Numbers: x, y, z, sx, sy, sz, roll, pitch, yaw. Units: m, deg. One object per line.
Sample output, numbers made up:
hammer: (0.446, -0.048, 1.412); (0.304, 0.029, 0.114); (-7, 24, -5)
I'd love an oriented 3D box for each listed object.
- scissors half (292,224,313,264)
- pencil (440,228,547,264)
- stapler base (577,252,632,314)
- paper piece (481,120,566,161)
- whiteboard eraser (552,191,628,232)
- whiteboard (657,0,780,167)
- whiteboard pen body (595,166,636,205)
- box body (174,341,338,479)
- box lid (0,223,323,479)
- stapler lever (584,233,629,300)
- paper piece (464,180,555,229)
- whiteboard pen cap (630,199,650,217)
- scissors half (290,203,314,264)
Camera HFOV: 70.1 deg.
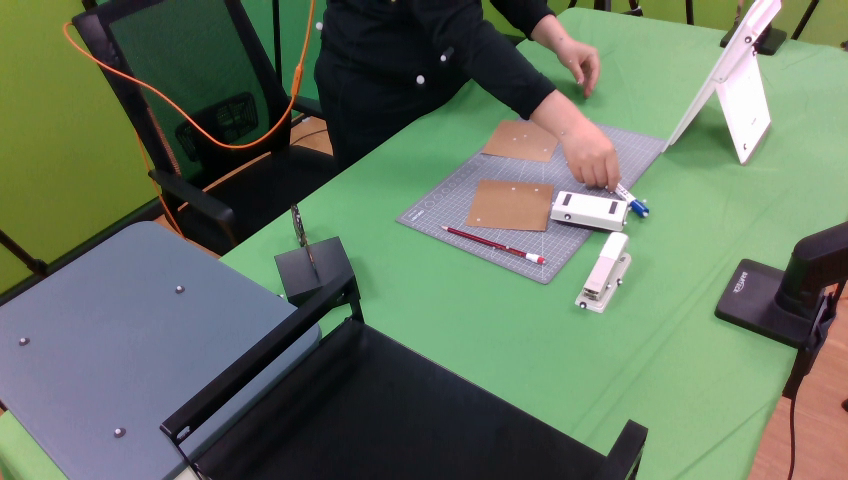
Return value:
scissors half: (-0.189, 0.007, 0.954); (0.013, 0.040, 0.174); (-16, 20, -14)
pencil: (0.105, 0.007, 0.958); (0.192, 0.012, 0.012); (18, 46, 30)
stapler base: (0.264, 0.051, 0.875); (0.041, 0.024, 0.131); (16, 47, 30)
paper piece: (0.197, -0.199, 1.188); (0.135, 0.004, 0.135); (11, 43, 21)
whiteboard eraser: (0.266, -0.044, 0.967); (0.112, 0.042, 0.055); (11, 42, 21)
whiteboard: (0.571, -0.272, 1.038); (0.143, 0.306, 0.218); (37, 54, 17)
whiteboard pen body: (0.332, -0.086, 1.026); (0.017, 0.017, 0.139); (-17, 41, -10)
box body: (-0.311, 0.165, 0.720); (0.361, 0.161, 0.255); (23, 48, 32)
box lid: (-0.318, 0.109, 0.671); (0.368, 0.015, 0.264); (24, 49, 31)
stapler lever: (0.261, 0.034, 0.858); (0.026, 0.040, 0.118); (16, 46, 30)
paper piece: (0.149, -0.062, 1.034); (0.137, 0.009, 0.136); (4, 37, 17)
whiteboard pen cap: (0.351, -0.053, 0.983); (0.018, 0.018, 0.033); (-19, 44, -13)
scissors half: (-0.190, -0.010, 0.945); (0.013, 0.040, 0.173); (-12, 37, -17)
